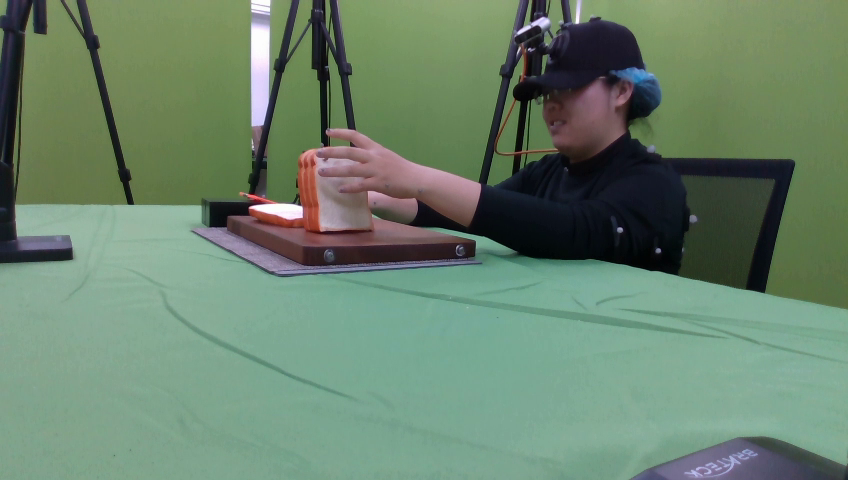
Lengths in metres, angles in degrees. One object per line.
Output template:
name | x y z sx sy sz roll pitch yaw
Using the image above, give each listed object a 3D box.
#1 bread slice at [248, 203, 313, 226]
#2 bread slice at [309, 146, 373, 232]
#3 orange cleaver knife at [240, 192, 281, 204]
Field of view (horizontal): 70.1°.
bread slice | -0.228 -0.043 1.022 0.131 0.019 0.105 14 14 37
bread slice | -0.132 -0.076 0.927 0.018 0.134 0.107 -12 -4 43
orange cleaver knife | -0.268 -0.064 1.235 0.212 0.012 0.077 17 -2 -26
